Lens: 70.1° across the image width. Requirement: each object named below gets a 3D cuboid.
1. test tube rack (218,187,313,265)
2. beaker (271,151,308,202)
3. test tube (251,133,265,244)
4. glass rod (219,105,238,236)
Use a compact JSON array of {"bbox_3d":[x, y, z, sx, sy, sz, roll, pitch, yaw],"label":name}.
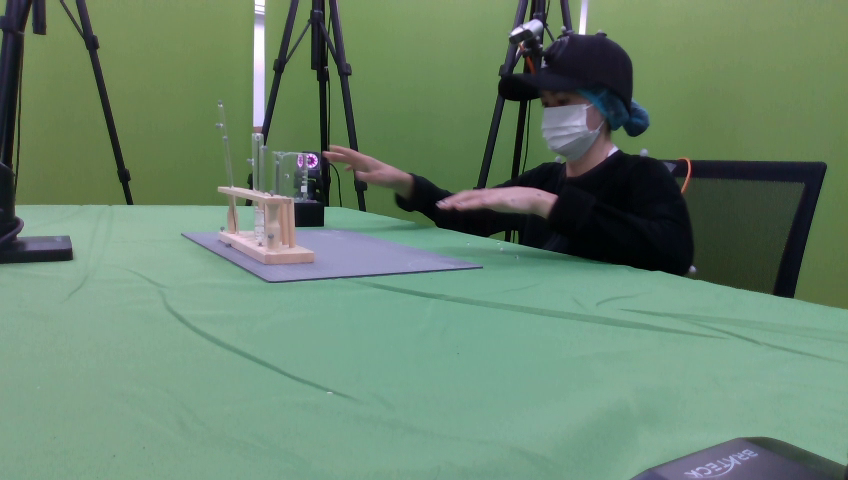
[{"bbox_3d":[-0.235,-0.027,0.872,0.067,0.085,0.241,-2,8,-32],"label":"test tube rack"},{"bbox_3d":[-0.277,-0.129,1.237,0.074,0.100,0.084,4,9,10],"label":"beaker"},{"bbox_3d":[-0.227,-0.070,0.825,0.017,0.150,0.017,0,3,0],"label":"test tube"},{"bbox_3d":[-0.294,-0.100,0.907,0.008,0.199,0.008,-3,12,1],"label":"glass rod"}]
